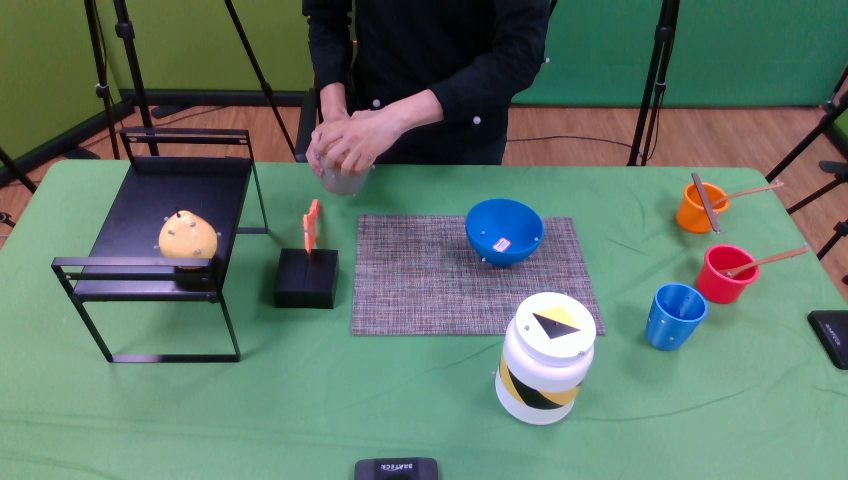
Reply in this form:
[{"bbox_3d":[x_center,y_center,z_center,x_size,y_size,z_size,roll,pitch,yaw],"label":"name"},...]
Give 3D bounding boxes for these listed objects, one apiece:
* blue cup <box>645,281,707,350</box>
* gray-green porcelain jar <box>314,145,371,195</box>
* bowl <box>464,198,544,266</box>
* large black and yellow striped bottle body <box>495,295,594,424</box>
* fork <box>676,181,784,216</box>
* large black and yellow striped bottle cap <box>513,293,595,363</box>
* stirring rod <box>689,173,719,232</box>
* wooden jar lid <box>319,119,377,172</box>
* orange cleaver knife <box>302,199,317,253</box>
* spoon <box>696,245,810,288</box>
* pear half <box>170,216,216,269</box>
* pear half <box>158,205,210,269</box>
[{"bbox_3d":[0.425,0.136,1.042,0.092,0.101,0.092,1,44,-1],"label":"blue cup"},{"bbox_3d":[-0.159,-0.154,1.184,0.106,0.126,0.105,6,70,-15],"label":"gray-green porcelain jar"},{"bbox_3d":[0.149,-0.004,1.168,0.151,0.077,0.150,2,46,-2],"label":"bowl"},{"bbox_3d":[0.183,0.182,0.923,0.131,0.185,0.130,2,46,-2],"label":"large black and yellow striped bottle body"},{"bbox_3d":[0.618,-0.083,1.235,0.019,0.207,0.028,54,40,-16],"label":"fork"},{"bbox_3d":[0.186,0.123,0.863,0.115,0.019,0.114,3,45,-3],"label":"large black and yellow striped bottle cap"},{"bbox_3d":[0.566,-0.079,1.225,0.014,0.006,0.175,2,45,2],"label":"stirring rod"},{"bbox_3d":[-0.143,-0.173,1.127,0.109,0.021,0.108,7,68,-17],"label":"wooden jar lid"},{"bbox_3d":[-0.219,-0.031,1.168,0.012,0.077,0.210,-4,17,-3],"label":"orange cleaver knife"},{"bbox_3d":[0.601,0.047,1.114,0.193,0.022,0.041,-27,36,33],"label":"spoon"},{"bbox_3d":[-0.323,0.007,0.866,0.031,0.088,0.070,25,46,20],"label":"pear half"},{"bbox_3d":[-0.352,-0.015,0.872,0.056,0.110,0.076,25,46,19],"label":"pear half"}]
